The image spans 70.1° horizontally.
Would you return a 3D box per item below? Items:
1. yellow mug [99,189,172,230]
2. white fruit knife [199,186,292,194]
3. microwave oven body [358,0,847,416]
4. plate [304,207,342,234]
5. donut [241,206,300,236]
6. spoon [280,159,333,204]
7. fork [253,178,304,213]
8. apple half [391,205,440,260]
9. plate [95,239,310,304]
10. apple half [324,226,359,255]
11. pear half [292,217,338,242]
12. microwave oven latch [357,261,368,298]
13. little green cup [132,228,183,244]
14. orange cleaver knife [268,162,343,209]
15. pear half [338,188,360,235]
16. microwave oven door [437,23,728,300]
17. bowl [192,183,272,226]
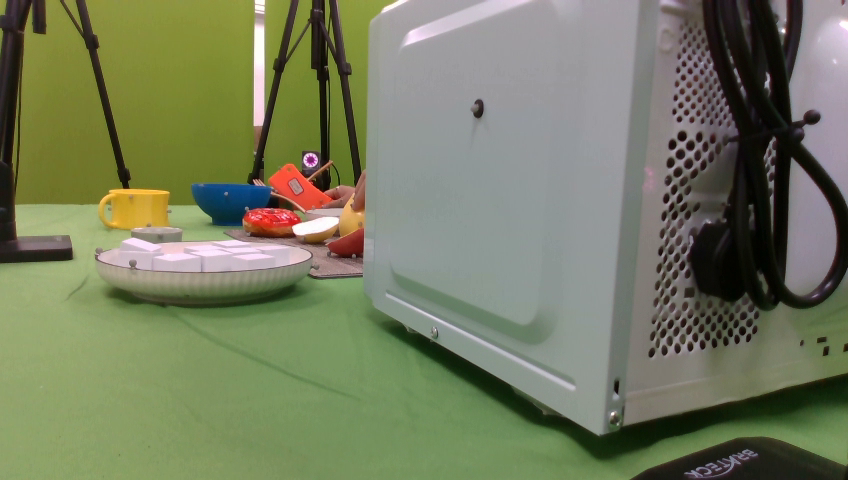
[{"bbox_3d":[-0.519,-0.055,1.080,0.099,0.064,0.131,7,10,26],"label":"yellow mug"},{"bbox_3d":[-0.399,-0.111,1.368,0.208,0.016,0.027,-4,-20,-29],"label":"white fruit knife"},{"bbox_3d":[0.211,-0.047,0.474,0.444,0.260,0.324,-1,7,-28],"label":"microwave oven body"},{"bbox_3d":[-0.123,-0.037,1.149,0.209,0.038,0.209,2,7,0],"label":"plate"},{"bbox_3d":[-0.263,-0.032,1.039,0.099,0.048,0.099,5,10,0],"label":"donut"},{"bbox_3d":[-0.316,-0.159,1.639,0.194,0.022,0.041,-49,32,-20],"label":"spoon"},{"bbox_3d":[-0.294,-0.084,1.293,0.206,0.018,0.028,29,13,26],"label":"fork"},{"bbox_3d":[-0.006,-0.009,0.837,0.053,0.074,0.081,10,6,23],"label":"apple half"},{"bbox_3d":[-0.224,0.031,0.629,0.208,0.039,0.207,2,8,0],"label":"plate"},{"bbox_3d":[-0.095,0.002,0.848,0.081,0.033,0.081,-21,-1,0],"label":"apple half"},{"bbox_3d":[-0.175,-0.014,0.977,0.087,0.031,0.071,-3,15,36],"label":"pear half"},{"bbox_3d":[-0.019,0.033,0.530,0.079,0.029,0.030,-1,7,-26],"label":"microwave oven latch"},{"bbox_3d":[-0.342,0.006,0.779,0.061,0.038,0.061,2,8,0],"label":"little green cup"},{"bbox_3d":[-0.249,-0.094,1.357,0.211,0.077,0.012,35,6,-4],"label":"orange cleaver knife"},{"bbox_3d":[-0.088,-0.042,0.922,0.055,0.110,0.077,11,14,36],"label":"pear half"},{"bbox_3d":[0.180,-0.072,0.621,0.358,0.243,0.039,-2,9,-29],"label":"microwave oven door"},{"bbox_3d":[-0.381,-0.071,1.202,0.151,0.077,0.151,3,7,0],"label":"bowl"}]
